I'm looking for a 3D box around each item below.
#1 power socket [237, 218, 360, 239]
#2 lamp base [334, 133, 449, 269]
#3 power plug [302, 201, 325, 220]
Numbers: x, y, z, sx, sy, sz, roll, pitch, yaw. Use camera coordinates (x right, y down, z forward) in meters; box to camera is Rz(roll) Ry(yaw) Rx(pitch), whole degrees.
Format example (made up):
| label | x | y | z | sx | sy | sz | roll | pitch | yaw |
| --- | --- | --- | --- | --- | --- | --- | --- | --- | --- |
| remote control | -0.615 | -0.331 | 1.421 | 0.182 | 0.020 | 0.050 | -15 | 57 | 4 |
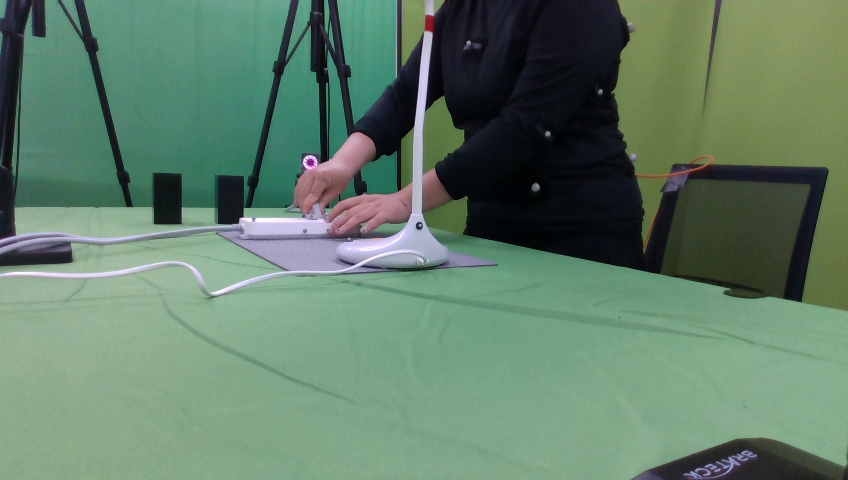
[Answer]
| label | x | y | z | sx | sy | sz | roll | pitch | yaw |
| --- | --- | --- | --- | --- | --- | --- | --- | --- | --- |
| power socket | -0.220 | -0.023 | 1.079 | 0.228 | 0.032 | 0.072 | -2 | 8 | -32 |
| lamp base | -0.034 | -0.057 | 0.830 | 0.161 | 0.180 | 0.178 | -3 | 12 | -36 |
| power plug | -0.205 | -0.046 | 1.120 | 0.035 | 0.052 | 0.072 | 1 | 6 | -18 |
